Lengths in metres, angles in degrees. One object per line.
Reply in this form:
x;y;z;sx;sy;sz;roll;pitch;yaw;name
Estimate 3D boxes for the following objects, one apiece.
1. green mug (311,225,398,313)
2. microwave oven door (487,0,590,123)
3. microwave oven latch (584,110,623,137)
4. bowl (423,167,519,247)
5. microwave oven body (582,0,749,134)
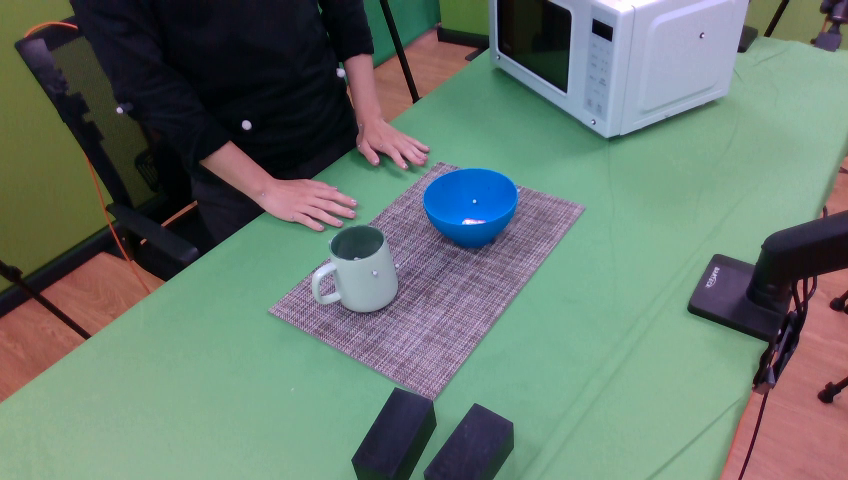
-0.101;0.050;0.857;0.126;0.105;0.091;-28;45;-23;green mug
0.232;-0.420;1.230;0.039;0.245;0.352;-22;42;-16;microwave oven door
0.337;-0.222;1.142;0.030;0.029;0.078;-21;42;-14;microwave oven latch
0.075;-0.041;0.958;0.151;0.077;0.150;-4;40;4;bowl
0.382;-0.444;1.246;0.327;0.261;0.437;-22;42;-16;microwave oven body
